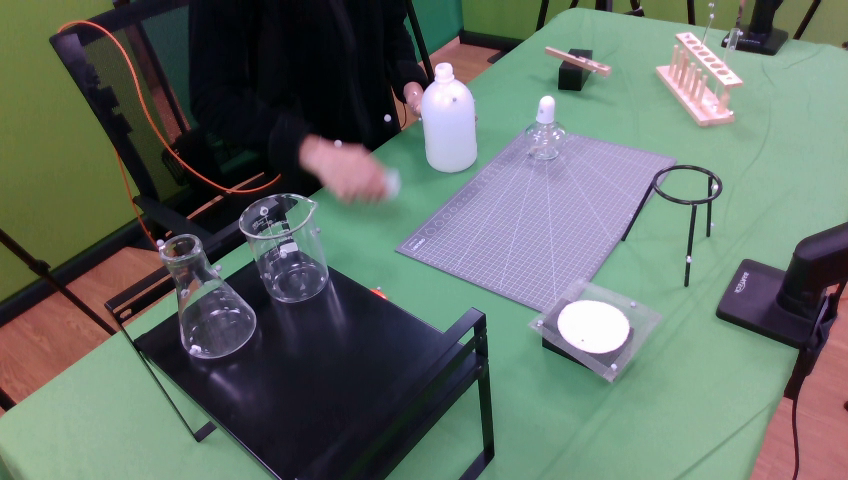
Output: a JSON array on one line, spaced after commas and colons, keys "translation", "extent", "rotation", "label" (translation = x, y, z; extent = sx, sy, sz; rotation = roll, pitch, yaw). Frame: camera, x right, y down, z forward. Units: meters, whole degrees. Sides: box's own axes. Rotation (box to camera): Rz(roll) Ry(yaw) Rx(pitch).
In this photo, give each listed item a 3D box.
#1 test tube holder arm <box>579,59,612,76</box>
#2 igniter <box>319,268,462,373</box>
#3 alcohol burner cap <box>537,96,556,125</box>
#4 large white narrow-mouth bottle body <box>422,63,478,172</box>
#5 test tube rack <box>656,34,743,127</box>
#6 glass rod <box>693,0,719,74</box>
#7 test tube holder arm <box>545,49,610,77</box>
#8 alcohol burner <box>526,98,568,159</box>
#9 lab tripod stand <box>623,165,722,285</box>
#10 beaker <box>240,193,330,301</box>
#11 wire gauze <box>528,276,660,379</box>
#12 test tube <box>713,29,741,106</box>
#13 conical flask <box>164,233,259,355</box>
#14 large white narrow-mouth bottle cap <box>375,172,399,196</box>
[{"translation": [0.363, -0.368, 1.289], "extent": [0.010, 0.015, 0.087], "rotation": [-27, 43, -30], "label": "test tube holder arm"}, {"translation": [-0.059, 0.107, 0.862], "extent": [0.274, 0.025, 0.057], "rotation": [28, 62, 34], "label": "igniter"}, {"translation": [0.223, -0.237, 1.095], "extent": [0.034, 0.048, 0.033], "rotation": [-1, 42, 1], "label": "alcohol burner cap"}, {"translation": [0.047, -0.229, 1.112], "extent": [0.102, 0.195, 0.101], "rotation": [-4, 41, 4], "label": "large white narrow-mouth bottle body"}, {"translation": [0.553, -0.330, 1.233], "extent": [0.067, 0.085, 0.241], "rotation": [-7, 40, 2], "label": "test tube rack"}, {"translation": [0.560, -0.401, 1.214], "extent": [0.008, 0.200, 0.008], "rotation": [-1, 48, 2], "label": "glass rod"}, {"translation": [0.330, -0.387, 1.314], "extent": [0.013, 0.015, 0.177], "rotation": [-26, 43, -29], "label": "test tube holder arm"}, {"translation": [0.228, -0.210, 1.118], "extent": [0.078, 0.119, 0.077], "rotation": [-5, 43, 5], "label": "alcohol burner"}, {"translation": [0.365, -0.030, 0.875], "extent": [0.148, 0.132, 0.147], "rotation": [-6, 41, 6], "label": "lab tripod stand"}, {"translation": [-0.144, 0.009, 0.656], "extent": [0.084, 0.101, 0.073], "rotation": [-25, 43, -19], "label": "beaker"}, {"translation": [0.214, 0.103, 0.763], "extent": [0.124, 0.011, 0.122], "rotation": [30, 52, 35], "label": "wire gauze"}, {"translation": [0.572, -0.324, 1.146], "extent": [0.017, 0.151, 0.017], "rotation": [-3, 39, 3], "label": "test tube"}, {"translation": [-0.216, 0.051, 0.601], "extent": [0.075, 0.122, 0.075], "rotation": [-4, 40, 4], "label": "conical flask"}, {"translation": [-0.057, -0.088, 0.948], "extent": [0.038, 0.024, 0.037], "rotation": [-4, 41, 4], "label": "large white narrow-mouth bottle cap"}]
